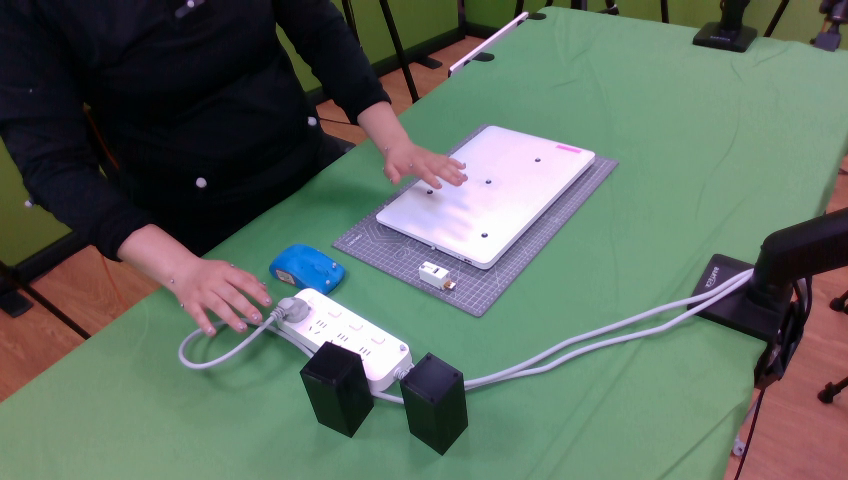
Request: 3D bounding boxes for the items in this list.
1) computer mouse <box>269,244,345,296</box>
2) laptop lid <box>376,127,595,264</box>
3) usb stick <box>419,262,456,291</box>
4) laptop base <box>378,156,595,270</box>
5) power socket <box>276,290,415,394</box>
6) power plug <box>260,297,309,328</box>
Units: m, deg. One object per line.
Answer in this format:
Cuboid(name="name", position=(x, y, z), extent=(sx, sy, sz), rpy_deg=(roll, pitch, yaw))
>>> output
Cuboid(name="computer mouse", position=(-0.182, 0.044, 0.933), extent=(0.116, 0.041, 0.063), rpy_deg=(22, 46, 25))
Cuboid(name="laptop lid", position=(0.112, -0.096, 1.050), extent=(0.239, 0.013, 0.358), rpy_deg=(23, 49, 35))
Cuboid(name="usb stick", position=(0.022, 0.056, 0.892), extent=(0.058, 0.027, 0.021), rpy_deg=(25, 46, 30))
Cuboid(name="laptop base", position=(0.115, -0.086, 1.056), extent=(0.233, 0.023, 0.355), rpy_deg=(21, 48, 34))
Cuboid(name="power socket", position=(-0.114, 0.133, 0.820), extent=(0.225, 0.033, 0.072), rpy_deg=(25, 49, 33))
Cuboid(name="power plug", position=(-0.193, 0.107, 0.831), extent=(0.073, 0.053, 0.035), rpy_deg=(-32, 43, -25))
